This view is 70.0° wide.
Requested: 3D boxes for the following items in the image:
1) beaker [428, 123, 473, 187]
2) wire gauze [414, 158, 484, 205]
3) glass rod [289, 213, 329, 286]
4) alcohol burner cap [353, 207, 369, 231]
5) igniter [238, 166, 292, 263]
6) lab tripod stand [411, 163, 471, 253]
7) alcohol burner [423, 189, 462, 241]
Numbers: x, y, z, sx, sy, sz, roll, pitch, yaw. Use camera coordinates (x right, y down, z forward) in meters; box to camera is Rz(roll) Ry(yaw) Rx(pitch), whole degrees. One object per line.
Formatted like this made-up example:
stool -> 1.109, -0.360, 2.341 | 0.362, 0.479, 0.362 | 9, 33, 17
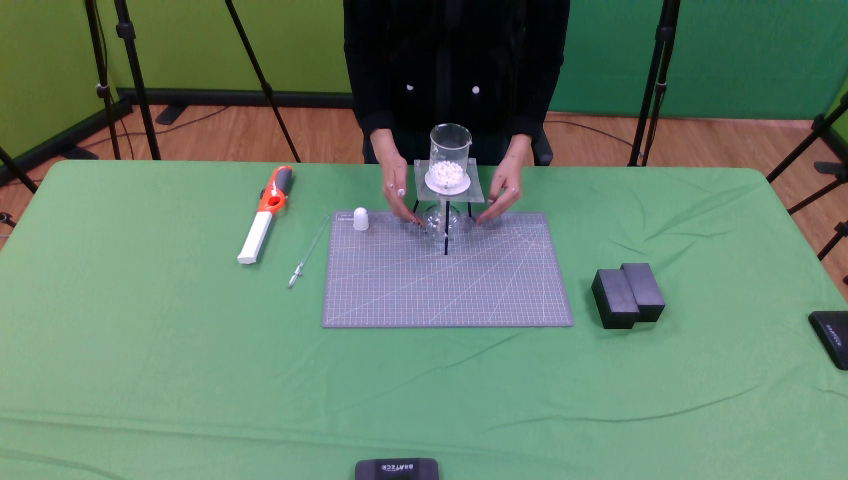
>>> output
beaker -> 0.044, -0.154, 1.109 | 0.074, 0.101, 0.083 | -25, 54, -25
wire gauze -> 0.045, -0.113, 1.137 | 0.125, 0.011, 0.120 | 1, 48, -6
glass rod -> -0.221, 0.014, 1.179 | 0.008, 0.008, 0.199 | 12, 46, 8
alcohol burner cap -> -0.127, -0.046, 1.215 | 0.034, 0.048, 0.033 | 3, 46, -3
igniter -> -0.318, -0.060, 1.229 | 0.057, 0.025, 0.275 | -2, 45, 10
lab tripod stand -> 0.042, -0.069, 1.186 | 0.148, 0.132, 0.147 | 3, 47, -3
alcohol burner -> 0.036, -0.055, 1.186 | 0.078, 0.120, 0.077 | 2, 48, -2
